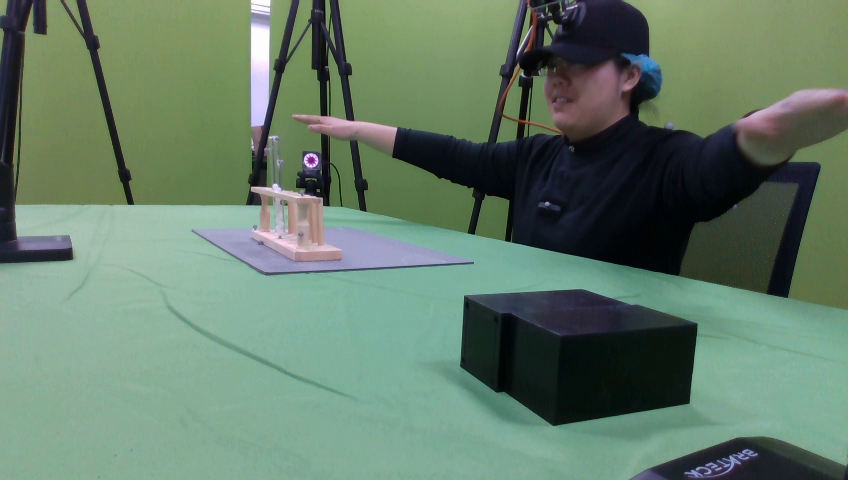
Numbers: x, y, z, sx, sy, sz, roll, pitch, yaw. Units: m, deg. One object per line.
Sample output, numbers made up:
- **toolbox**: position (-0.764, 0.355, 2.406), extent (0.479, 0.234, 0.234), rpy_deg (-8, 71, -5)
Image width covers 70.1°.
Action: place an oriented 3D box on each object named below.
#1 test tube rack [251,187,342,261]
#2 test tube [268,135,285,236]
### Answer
- **test tube rack**: position (-0.196, -0.030, 0.902), extent (0.067, 0.085, 0.241), rpy_deg (-2, 8, -29)
- **test tube**: position (-0.219, -0.081, 0.902), extent (0.017, 0.150, 0.017), rpy_deg (-2, 6, 1)
